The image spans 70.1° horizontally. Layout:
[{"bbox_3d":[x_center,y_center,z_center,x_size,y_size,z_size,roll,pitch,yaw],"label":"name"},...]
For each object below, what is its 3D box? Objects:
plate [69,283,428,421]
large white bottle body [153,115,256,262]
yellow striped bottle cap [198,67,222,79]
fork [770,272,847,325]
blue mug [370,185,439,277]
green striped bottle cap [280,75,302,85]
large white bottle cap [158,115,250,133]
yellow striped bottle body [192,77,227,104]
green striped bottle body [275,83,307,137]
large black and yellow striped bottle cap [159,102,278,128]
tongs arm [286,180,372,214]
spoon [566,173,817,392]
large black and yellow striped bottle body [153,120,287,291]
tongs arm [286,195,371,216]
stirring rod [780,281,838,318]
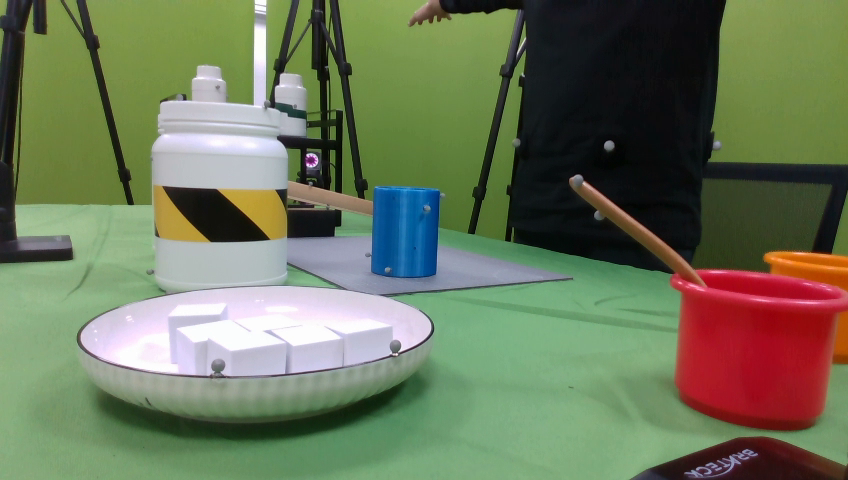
[{"bbox_3d":[-0.102,0.066,0.381,0.208,0.039,0.207,2,7,0],"label":"plate"},{"bbox_3d":[-0.293,-0.070,0.813,0.131,0.184,0.130,2,7,0],"label":"large white bottle body"},{"bbox_3d":[-0.412,-0.320,1.163,0.044,0.018,0.044,0,6,0],"label":"yellow striped bottle cap"},{"bbox_3d":[0.331,0.018,0.443,0.028,0.018,0.207,-1,-36,-16],"label":"fork"},{"bbox_3d":[-0.025,-0.016,0.761,0.082,0.106,0.116,2,7,-2],"label":"blue mug"},{"bbox_3d":[-0.267,-0.320,1.216,0.044,0.020,0.044,3,8,0],"label":"green striped bottle cap"},{"bbox_3d":[-0.291,-0.153,0.803,0.115,0.018,0.115,1,7,0],"label":"large white bottle cap"},{"bbox_3d":[-0.414,-0.268,1.169,0.063,0.120,0.063,2,7,0],"label":"yellow striped bottle body"},{"bbox_3d":[-0.269,-0.269,1.221,0.063,0.119,0.063,2,7,0],"label":"green striped bottle body"},{"bbox_3d":[-0.207,-0.125,0.615,0.115,0.019,0.115,2,6,0],"label":"large black and yellow striped bottle cap"},{"bbox_3d":[-0.123,-0.066,1.147,0.387,0.026,0.050,11,-3,-38],"label":"tongs arm"},{"bbox_3d":[0.161,0.024,0.370,0.193,0.021,0.042,47,18,3],"label":"spoon"},{"bbox_3d":[-0.208,-0.042,0.626,0.131,0.184,0.130,2,7,0],"label":"large black and yellow striped bottle body"},{"bbox_3d":[-0.166,-0.074,1.216,0.389,0.027,0.028,11,-6,-24],"label":"tongs arm"},{"bbox_3d":[0.344,0.019,0.461,0.014,0.006,0.176,-14,-27,-31],"label":"stirring rod"}]
